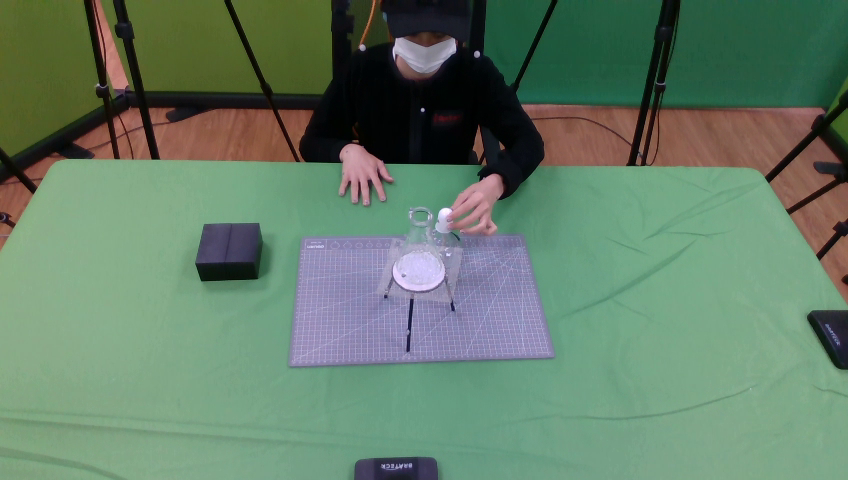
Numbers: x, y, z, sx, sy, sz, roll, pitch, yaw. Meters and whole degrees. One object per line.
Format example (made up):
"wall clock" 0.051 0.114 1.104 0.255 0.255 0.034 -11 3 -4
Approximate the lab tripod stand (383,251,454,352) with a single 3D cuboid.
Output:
"lab tripod stand" -0.015 0.094 1.025 0.148 0.132 0.147 1 46 -1

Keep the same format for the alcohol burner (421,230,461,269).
"alcohol burner" 0.033 -0.001 1.135 0.078 0.119 0.077 2 48 -2

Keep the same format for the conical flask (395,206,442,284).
"conical flask" -0.007 0.005 0.937 0.075 0.122 0.075 2 45 -1

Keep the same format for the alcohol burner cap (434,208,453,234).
"alcohol burner cap" 0.036 -0.037 1.093 0.034 0.048 0.033 4 49 -5

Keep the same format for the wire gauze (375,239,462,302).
"wire gauze" -0.006 0.049 0.977 0.121 0.011 0.124 10 44 5
